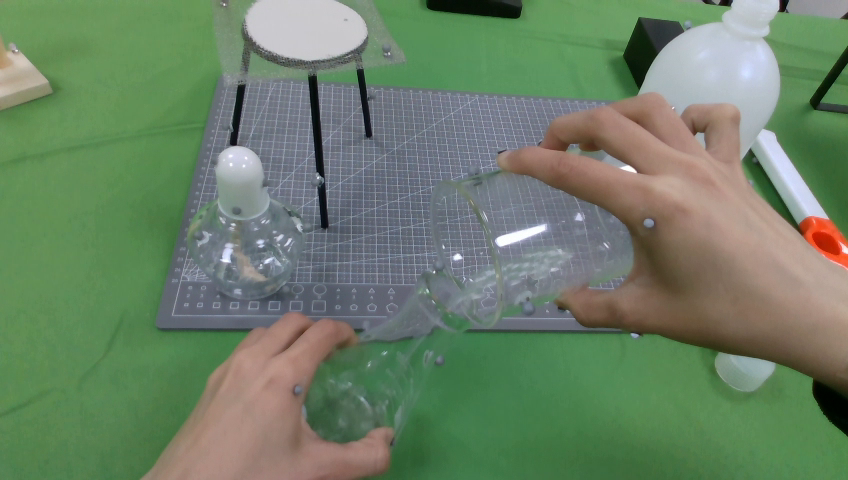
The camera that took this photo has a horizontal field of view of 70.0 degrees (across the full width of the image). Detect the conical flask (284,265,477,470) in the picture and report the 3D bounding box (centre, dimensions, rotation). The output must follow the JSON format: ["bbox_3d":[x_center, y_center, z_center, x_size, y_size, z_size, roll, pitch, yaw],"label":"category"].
[{"bbox_3d":[-0.020,0.069,0.343,0.076,0.122,0.074,31,28,-18],"label":"conical flask"}]

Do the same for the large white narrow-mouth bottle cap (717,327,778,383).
[{"bbox_3d":[0.240,0.086,0.451,0.038,0.024,0.037,5,48,-5],"label":"large white narrow-mouth bottle cap"}]

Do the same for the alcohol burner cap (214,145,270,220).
[{"bbox_3d":[-0.116,-0.038,0.381,0.034,0.048,0.033,4,54,-6],"label":"alcohol burner cap"}]

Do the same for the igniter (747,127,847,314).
[{"bbox_3d":[0.357,-0.010,0.551,0.057,0.025,0.273,10,47,-15],"label":"igniter"}]

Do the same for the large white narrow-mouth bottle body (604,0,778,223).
[{"bbox_3d":[0.225,-0.111,0.500,0.102,0.196,0.101,4,48,-5],"label":"large white narrow-mouth bottle body"}]

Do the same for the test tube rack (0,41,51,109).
[{"bbox_3d":[-0.443,-0.126,0.471,0.242,0.086,0.066,-34,62,-32],"label":"test tube rack"}]

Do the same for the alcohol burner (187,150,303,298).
[{"bbox_3d":[-0.121,-0.015,0.409,0.078,0.120,0.077,6,47,-7],"label":"alcohol burner"}]

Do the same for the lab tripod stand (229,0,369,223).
[{"bbox_3d":[-0.092,-0.109,0.483,0.149,0.132,0.147,6,49,-7],"label":"lab tripod stand"}]

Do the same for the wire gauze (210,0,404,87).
[{"bbox_3d":[-0.088,-0.155,0.434,0.122,0.011,0.123,-9,53,-18],"label":"wire gauze"}]

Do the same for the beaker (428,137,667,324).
[{"bbox_3d":[0.062,-0.006,0.308,0.100,0.084,0.073,-17,59,-17],"label":"beaker"}]
